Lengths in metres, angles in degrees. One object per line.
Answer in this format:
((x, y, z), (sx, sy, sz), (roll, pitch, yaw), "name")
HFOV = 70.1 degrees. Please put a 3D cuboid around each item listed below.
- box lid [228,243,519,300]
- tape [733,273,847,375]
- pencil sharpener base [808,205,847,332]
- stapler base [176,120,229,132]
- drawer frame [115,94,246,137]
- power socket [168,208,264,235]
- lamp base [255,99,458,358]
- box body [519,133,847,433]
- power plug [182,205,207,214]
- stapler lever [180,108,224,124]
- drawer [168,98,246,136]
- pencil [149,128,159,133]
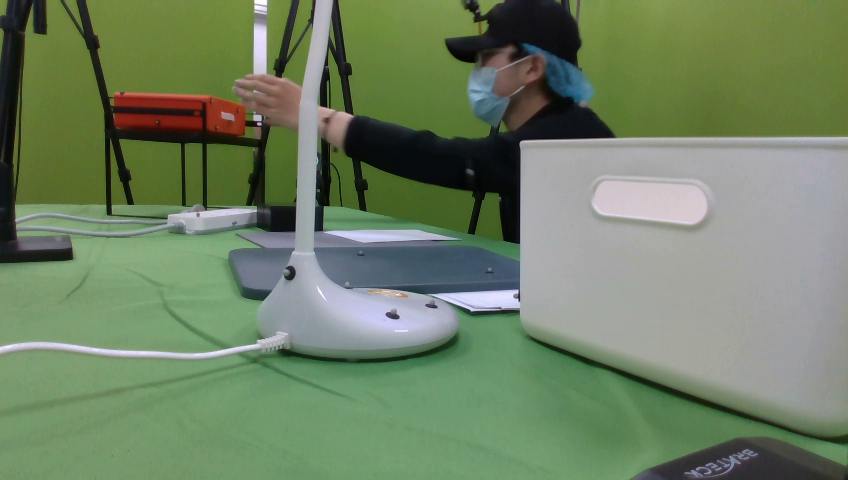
((-0.044, 0.033, 0.757), (0.373, 0.015, 0.262), (-1, 9, -22), "box lid")
((0.295, 0.059, 0.455), (0.117, 0.052, 0.117), (2, 7, 0), "tape")
((0.386, 0.026, 0.518), (0.062, 0.107, 0.076), (-5, 11, -43), "pencil sharpener base")
((-0.496, -0.257, 1.364), (0.041, 0.024, 0.131), (2, 9, 22), "stapler base")
((-0.543, -0.281, 1.374), (0.213, 0.082, 0.201), (2, 8, 4), "drawer frame")
((-0.381, -0.038, 1.129), (0.072, 0.032, 0.227), (4, 8, 17), "power socket")
((-0.056, -0.013, 0.462), (0.160, 0.180, 0.180), (6, 11, 27), "lamp base")
((0.279, 0.005, 0.485), (0.366, 0.160, 0.253), (-3, 9, -36), "box body")
((-0.455, -0.041, 1.196), (0.052, 0.035, 0.072), (1, 42, 24), "power plug")
((-0.496, -0.281, 1.359), (0.027, 0.040, 0.118), (2, 8, 22), "stapler lever")
((-0.540, -0.280, 1.374), (0.212, 0.073, 0.194), (2, 8, 5), "drawer")
((-0.528, -0.258, 1.360), (0.012, 0.012, 0.195), (8, 20, 35), "pencil")
